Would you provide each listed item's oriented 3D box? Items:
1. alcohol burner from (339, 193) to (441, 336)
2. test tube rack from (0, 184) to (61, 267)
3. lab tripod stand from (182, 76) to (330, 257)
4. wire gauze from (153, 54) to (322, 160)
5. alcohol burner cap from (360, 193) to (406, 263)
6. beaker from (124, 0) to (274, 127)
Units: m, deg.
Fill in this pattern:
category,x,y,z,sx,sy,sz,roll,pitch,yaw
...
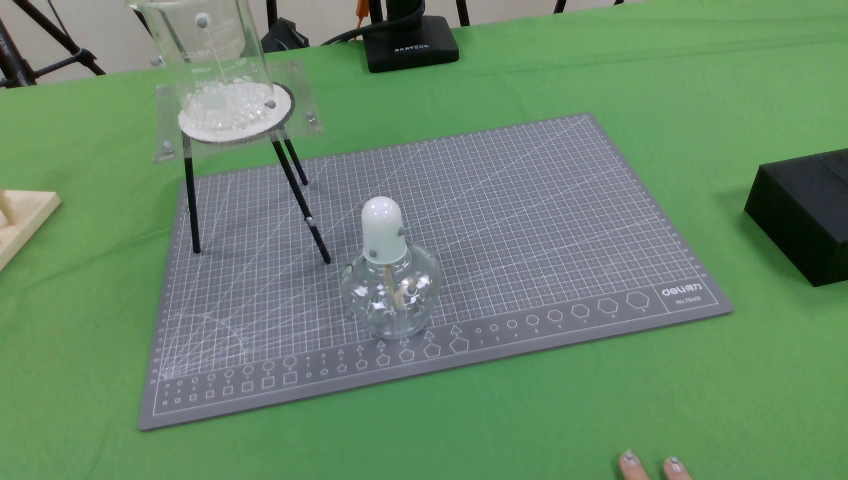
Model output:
category,x,y,z,sx,sy,sz,roll,pitch,yaw
alcohol burner,-0.027,0.015,0.448,0.078,0.120,0.077,-3,42,3
test tube rack,-0.428,0.007,0.519,0.066,0.086,0.240,4,44,9
lab tripod stand,-0.145,-0.059,0.522,0.148,0.133,0.147,-3,46,3
wire gauze,-0.150,-0.106,0.476,0.125,0.011,0.120,-16,43,-7
alcohol burner cap,-0.030,-0.010,0.423,0.034,0.048,0.033,-1,40,1
beaker,-0.157,-0.140,0.442,0.084,0.101,0.073,-15,44,-8
